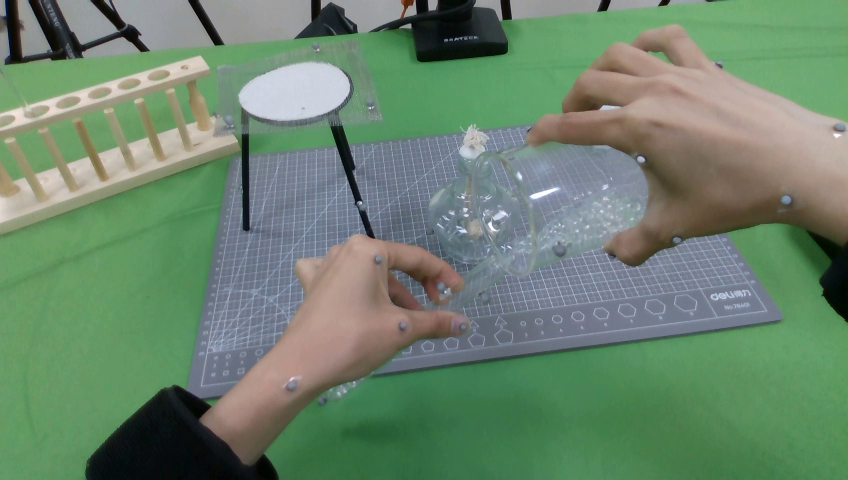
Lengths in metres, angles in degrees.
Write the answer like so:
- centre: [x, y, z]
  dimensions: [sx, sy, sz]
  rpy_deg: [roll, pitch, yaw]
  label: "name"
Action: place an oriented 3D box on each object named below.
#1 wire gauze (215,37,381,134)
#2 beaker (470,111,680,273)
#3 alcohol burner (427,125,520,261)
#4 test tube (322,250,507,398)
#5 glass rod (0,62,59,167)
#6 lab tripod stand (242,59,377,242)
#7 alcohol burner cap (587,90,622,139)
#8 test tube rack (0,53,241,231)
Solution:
- centre: [-0.104, -0.123, 0.480]
  dimensions: [0.125, 0.011, 0.120]
  rpy_deg: [-11, 45, -6]
  label: "wire gauze"
- centre: [0.088, -0.029, 0.354]
  dimensions: [0.100, 0.085, 0.073]
  rpy_deg: [-18, 50, -15]
  label: "beaker"
- centre: [0.040, -0.041, 0.497]
  dimensions: [0.078, 0.120, 0.077]
  rpy_deg: [-2, 43, 2]
  label: "alcohol burner"
- centre: [-0.010, 0.056, 0.386]
  dimensions: [0.150, 0.017, 0.017]
  rpy_deg: [-39, 44, 15]
  label: "test tube"
- centre: [-0.373, -0.136, 0.550]
  dimensions: [0.008, 0.201, 0.008]
  rpy_deg: [-1, 48, 2]
  label: "glass rod"
- centre: [-0.100, -0.076, 0.527]
  dimensions: [0.148, 0.133, 0.147]
  rpy_deg: [-2, 46, 3]
  label: "lab tripod stand"
- centre: [0.190, -0.133, 0.632]
  dimensions: [0.034, 0.048, 0.033]
  rpy_deg: [-2, 44, 2]
  label: "alcohol burner cap"
- centre: [-0.321, -0.103, 0.608]
  dimensions: [0.243, 0.086, 0.066]
  rpy_deg: [-24, 48, -20]
  label: "test tube rack"
